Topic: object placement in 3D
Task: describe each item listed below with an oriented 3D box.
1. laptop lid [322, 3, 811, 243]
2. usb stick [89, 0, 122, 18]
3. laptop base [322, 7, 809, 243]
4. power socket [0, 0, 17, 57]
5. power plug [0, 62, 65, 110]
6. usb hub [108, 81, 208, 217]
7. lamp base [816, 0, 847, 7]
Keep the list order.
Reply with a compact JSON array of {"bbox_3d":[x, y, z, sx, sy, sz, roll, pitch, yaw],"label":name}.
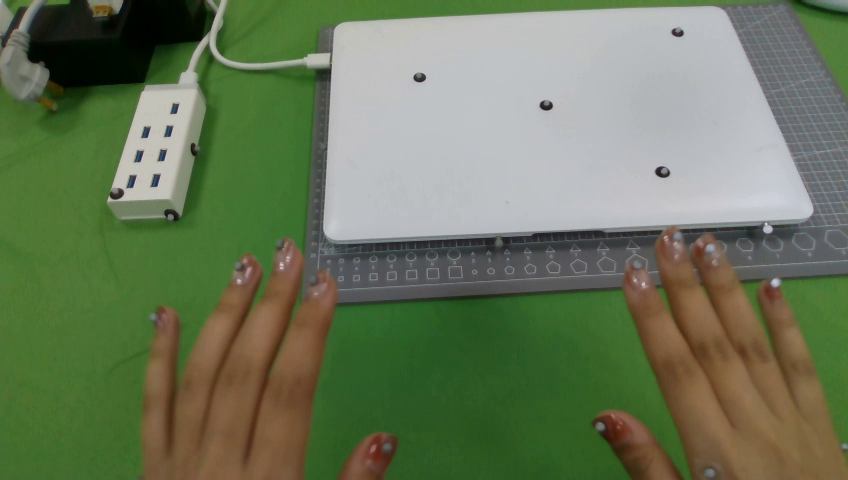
[{"bbox_3d":[0.098,-0.106,0.486,0.357,0.013,0.239,-1,59,1],"label":"laptop lid"},{"bbox_3d":[-0.272,-0.214,0.515,0.021,0.027,0.058,-3,59,-3],"label":"usb stick"},{"bbox_3d":[0.099,-0.101,0.497,0.354,0.023,0.233,-3,61,0],"label":"laptop base"},{"bbox_3d":[-0.428,-0.142,0.530,0.072,0.033,0.224,-2,57,0],"label":"power socket"},{"bbox_3d":[-0.345,-0.128,0.515,0.072,0.053,0.035,-9,58,35],"label":"power plug"},{"bbox_3d":[-0.210,-0.076,0.485,0.049,0.025,0.124,-2,57,2],"label":"usb hub"},{"bbox_3d":[0.417,-0.335,0.542,0.159,0.182,0.178,26,59,18],"label":"lamp base"}]
